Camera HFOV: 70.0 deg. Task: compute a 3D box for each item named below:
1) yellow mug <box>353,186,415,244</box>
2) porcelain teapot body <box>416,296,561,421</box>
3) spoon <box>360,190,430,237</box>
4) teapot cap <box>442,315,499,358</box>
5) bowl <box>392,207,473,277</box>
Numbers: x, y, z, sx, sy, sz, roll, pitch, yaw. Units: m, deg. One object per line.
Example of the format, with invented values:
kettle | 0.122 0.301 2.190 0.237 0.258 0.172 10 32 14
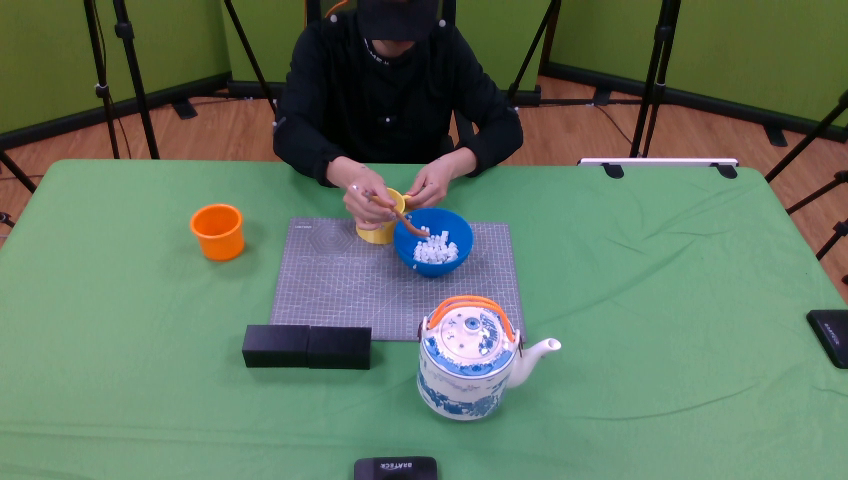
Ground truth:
yellow mug | -0.076 -0.056 1.208 0.131 0.064 0.099 -22 53 -23
porcelain teapot body | 0.094 0.164 0.907 0.205 0.226 0.144 6 45 1
spoon | -0.050 -0.045 1.048 0.041 0.195 0.021 27 82 40
teapot cap | 0.068 0.133 0.880 0.085 0.044 0.084 4 45 -4
bowl | 0.014 0.017 1.140 0.151 0.077 0.150 2 46 -2
